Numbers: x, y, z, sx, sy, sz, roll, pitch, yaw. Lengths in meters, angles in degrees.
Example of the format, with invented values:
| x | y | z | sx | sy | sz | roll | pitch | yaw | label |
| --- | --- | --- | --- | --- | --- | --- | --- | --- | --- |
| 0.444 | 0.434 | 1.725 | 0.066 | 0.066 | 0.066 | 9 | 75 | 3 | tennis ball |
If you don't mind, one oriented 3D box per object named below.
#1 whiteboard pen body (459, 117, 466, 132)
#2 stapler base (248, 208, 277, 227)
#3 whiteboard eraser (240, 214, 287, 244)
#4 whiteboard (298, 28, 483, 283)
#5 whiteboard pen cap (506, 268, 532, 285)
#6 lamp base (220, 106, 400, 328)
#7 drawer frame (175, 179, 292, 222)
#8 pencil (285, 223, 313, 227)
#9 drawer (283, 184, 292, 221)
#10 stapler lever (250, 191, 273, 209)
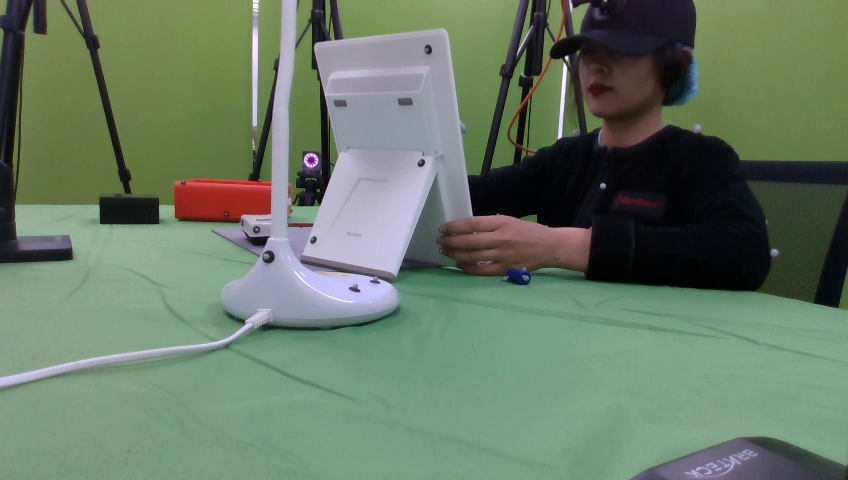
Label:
| x | y | z | sx | sy | sz | roll | pitch | yaw | label |
| --- | --- | --- | --- | --- | --- | --- | --- | --- | --- |
| 0.035 | -0.160 | 0.785 | 0.017 | 0.017 | 0.141 | 4 | -1 | 15 | whiteboard pen body |
| -0.350 | -0.053 | 1.310 | 0.041 | 0.024 | 0.130 | 0 | 13 | -3 | stapler base |
| -0.256 | -0.017 | 0.958 | 0.056 | 0.042 | 0.112 | 0 | 8 | -25 | whiteboard eraser |
| -0.075 | -0.082 | 0.741 | 0.216 | 0.305 | 0.144 | 9 | 29 | 38 | whiteboard |
| 0.113 | 0.043 | 0.726 | 0.018 | 0.018 | 0.033 | -2 | 10 | -28 | whiteboard pen cap |
| -0.101 | -0.023 | 0.531 | 0.160 | 0.180 | 0.179 | 4 | 10 | 10 | lamp base |
| -0.402 | -0.087 | 1.311 | 0.214 | 0.082 | 0.201 | 1 | 8 | -9 | drawer frame |
| -0.234 | -0.030 | 1.198 | 0.195 | 0.012 | 0.012 | 0 | 8 | -20 | pencil |
| -0.397 | -0.087 | 1.314 | 0.212 | 0.073 | 0.194 | 1 | 8 | -9 | drawer |
| -0.351 | -0.086 | 1.305 | 0.027 | 0.040 | 0.118 | 0 | 5 | -3 | stapler lever |
